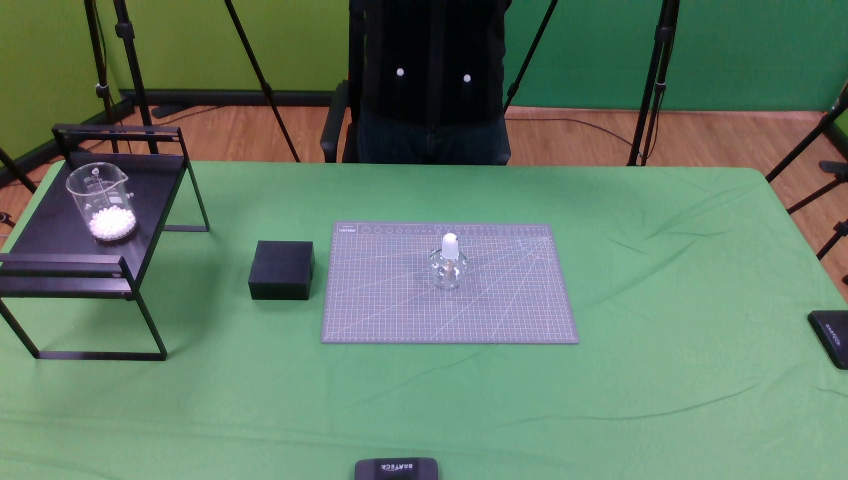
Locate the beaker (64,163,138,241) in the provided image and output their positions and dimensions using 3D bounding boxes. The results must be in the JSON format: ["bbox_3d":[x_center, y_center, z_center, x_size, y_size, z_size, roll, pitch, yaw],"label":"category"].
[{"bbox_3d":[-0.477,-0.055,0.910,0.084,0.101,0.073,-9,48,-13],"label":"beaker"}]

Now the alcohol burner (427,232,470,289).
[{"bbox_3d":[0.045,0.032,1.099,0.078,0.120,0.077,0,46,0],"label":"alcohol burner"}]

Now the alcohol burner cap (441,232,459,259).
[{"bbox_3d":[0.046,0.007,1.075,0.034,0.048,0.033,0,42,0],"label":"alcohol burner cap"}]
